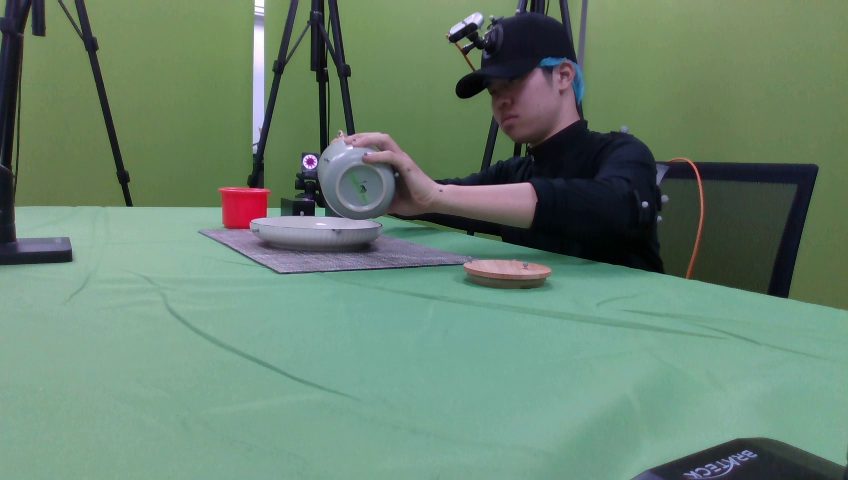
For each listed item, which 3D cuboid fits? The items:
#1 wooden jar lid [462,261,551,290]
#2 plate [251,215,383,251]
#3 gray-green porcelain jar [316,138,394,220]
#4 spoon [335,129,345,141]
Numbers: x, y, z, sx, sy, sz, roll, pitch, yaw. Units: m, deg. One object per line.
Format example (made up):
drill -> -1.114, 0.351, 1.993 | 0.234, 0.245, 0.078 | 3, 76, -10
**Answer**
wooden jar lid -> 0.100, 0.043, 0.742 | 0.108, 0.020, 0.108 | 2, 6, 0
plate -> -0.170, -0.012, 0.971 | 0.208, 0.039, 0.207 | 2, 7, 0
gray-green porcelain jar -> -0.102, -0.090, 0.888 | 0.106, 0.106, 0.126 | 1, 16, -14
spoon -> -0.132, -0.129, 0.935 | 0.042, 0.021, 0.193 | 34, 22, -26
